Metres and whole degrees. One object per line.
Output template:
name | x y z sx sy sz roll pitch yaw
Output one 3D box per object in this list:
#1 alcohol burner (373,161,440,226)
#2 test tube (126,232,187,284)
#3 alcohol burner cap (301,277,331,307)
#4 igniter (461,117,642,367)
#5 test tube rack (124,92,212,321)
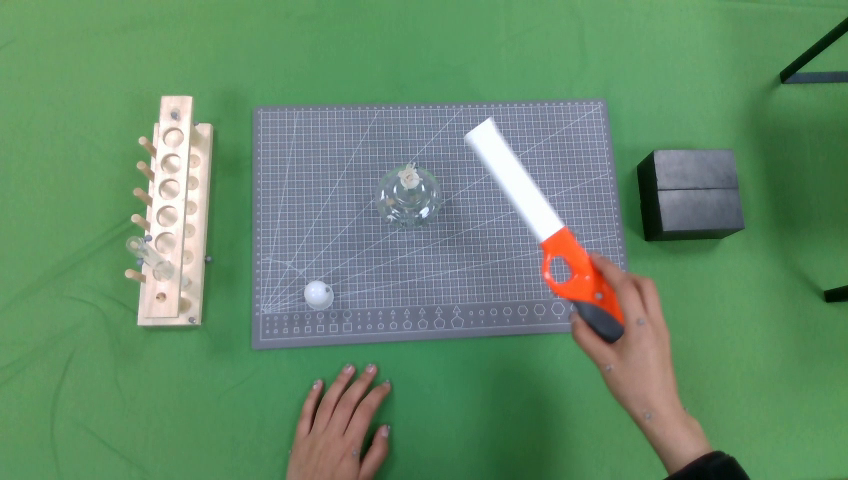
alcohol burner | -0.020 -0.057 0.683 0.078 0.119 0.077 1 78 -3
test tube | -0.267 0.021 0.613 0.017 0.151 0.017 2 73 -5
alcohol burner cap | -0.124 0.057 0.686 0.034 0.048 0.033 1 77 -5
igniter | 0.126 0.003 0.587 0.057 0.025 0.276 -35 91 0
test tube rack | -0.288 -0.035 0.674 0.067 0.085 0.241 0 77 -4
